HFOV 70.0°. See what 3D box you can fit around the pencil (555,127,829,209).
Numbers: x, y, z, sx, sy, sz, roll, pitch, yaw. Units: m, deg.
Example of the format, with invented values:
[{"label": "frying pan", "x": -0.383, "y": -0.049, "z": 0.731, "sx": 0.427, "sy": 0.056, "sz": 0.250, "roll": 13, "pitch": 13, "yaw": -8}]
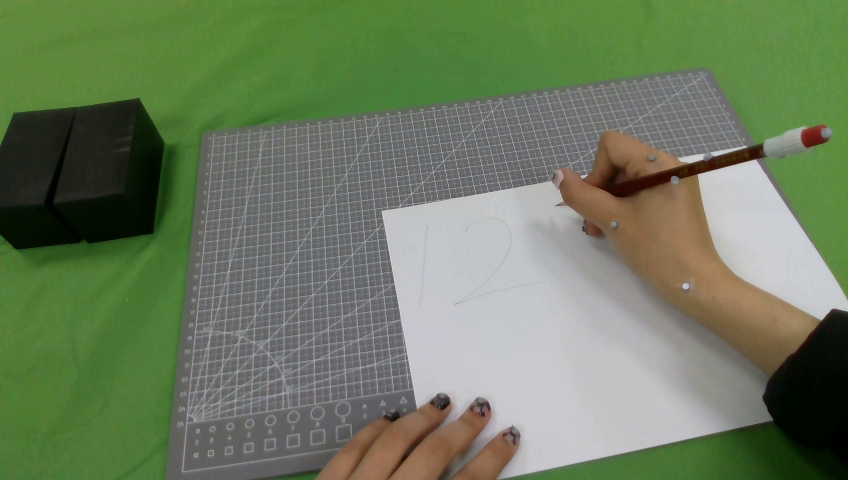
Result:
[{"label": "pencil", "x": 0.144, "y": -0.036, "z": 0.369, "sx": 0.012, "sy": 0.193, "sz": 0.012, "roll": 4, "pitch": 81, "yaw": -28}]
